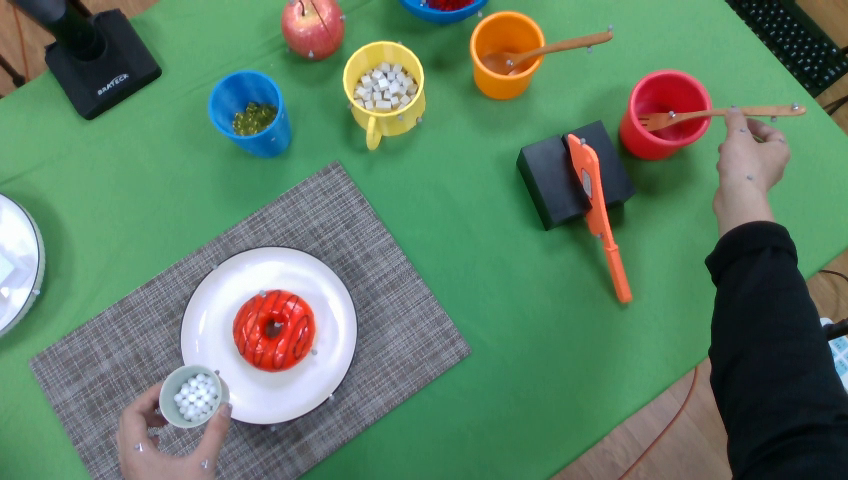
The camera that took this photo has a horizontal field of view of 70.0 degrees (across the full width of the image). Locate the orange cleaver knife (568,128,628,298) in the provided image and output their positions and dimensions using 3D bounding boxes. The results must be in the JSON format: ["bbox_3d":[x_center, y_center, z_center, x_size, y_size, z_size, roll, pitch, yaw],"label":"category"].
[{"bbox_3d":[0.206,-0.031,0.723,0.012,0.076,0.212,-20,108,-1],"label":"orange cleaver knife"}]

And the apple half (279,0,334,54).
[{"bbox_3d":[-0.156,-0.276,0.780,0.053,0.075,0.080,-29,83,-2],"label":"apple half"}]

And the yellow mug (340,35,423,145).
[{"bbox_3d":[-0.056,-0.183,0.764,0.100,0.064,0.130,13,80,3],"label":"yellow mug"}]

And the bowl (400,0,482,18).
[{"bbox_3d":[0.023,-0.348,0.789,0.151,0.077,0.151,0,80,1],"label":"bowl"}]

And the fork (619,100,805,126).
[{"bbox_3d":[0.329,-0.152,0.713,0.206,0.019,0.028,5,61,45],"label":"fork"}]

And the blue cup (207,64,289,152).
[{"bbox_3d":[-0.206,-0.152,0.743,0.092,0.100,0.092,0,80,0],"label":"blue cup"}]

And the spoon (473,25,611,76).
[{"bbox_3d":[0.135,-0.231,0.729,0.022,0.192,0.041,23,76,-39],"label":"spoon"}]

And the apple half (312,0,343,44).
[{"bbox_3d":[-0.122,-0.295,0.782,0.033,0.081,0.081,-29,79,-2],"label":"apple half"}]

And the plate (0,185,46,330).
[{"bbox_3d":[-0.564,0.028,0.744,0.208,0.039,0.206,0,79,1],"label":"plate"}]

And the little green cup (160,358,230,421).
[{"bbox_3d":[-0.227,0.152,0.609,0.061,0.039,0.061,-1,73,4],"label":"little green cup"}]

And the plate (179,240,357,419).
[{"bbox_3d":[-0.181,0.104,0.720,0.209,0.038,0.208,0,79,1],"label":"plate"}]

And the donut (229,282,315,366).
[{"bbox_3d":[-0.178,0.098,0.710,0.099,0.048,0.098,0,80,2],"label":"donut"}]
